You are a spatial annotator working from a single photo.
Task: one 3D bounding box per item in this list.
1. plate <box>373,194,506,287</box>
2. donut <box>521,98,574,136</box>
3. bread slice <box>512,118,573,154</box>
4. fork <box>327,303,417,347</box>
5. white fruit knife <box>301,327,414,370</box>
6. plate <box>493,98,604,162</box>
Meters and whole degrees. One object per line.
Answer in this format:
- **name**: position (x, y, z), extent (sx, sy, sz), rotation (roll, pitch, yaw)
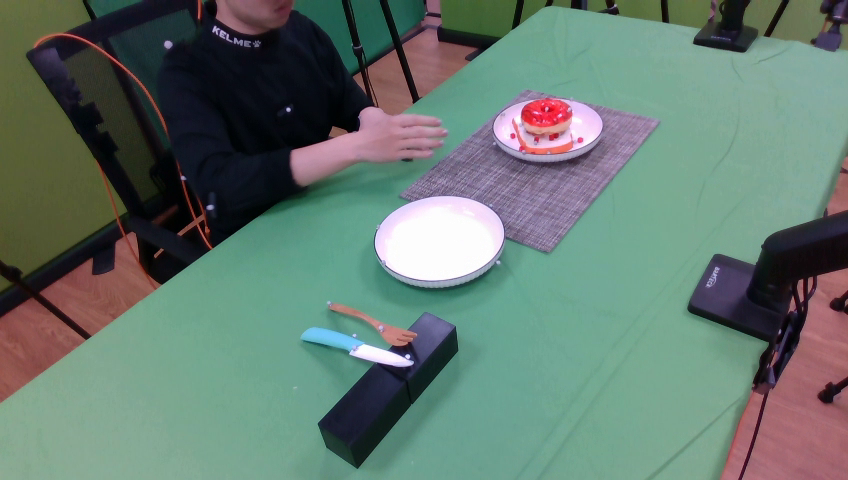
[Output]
- **plate**: position (0.025, 0.003, 0.952), extent (0.207, 0.039, 0.206), rotation (-4, 41, 4)
- **donut**: position (0.232, -0.233, 1.135), extent (0.099, 0.048, 0.098), rotation (-4, 40, 4)
- **bread slice**: position (0.232, -0.204, 1.160), extent (0.105, 0.019, 0.131), rotation (-8, 39, 1)
- **fork**: position (-0.077, 0.110, 0.811), extent (0.028, 0.019, 0.205), rotation (-40, 33, -26)
- **white fruit knife**: position (-0.088, 0.140, 0.781), extent (0.205, 0.016, 0.027), rotation (7, 42, 42)
- **plate**: position (0.237, -0.206, 1.158), extent (0.209, 0.038, 0.208), rotation (-4, 40, 4)
